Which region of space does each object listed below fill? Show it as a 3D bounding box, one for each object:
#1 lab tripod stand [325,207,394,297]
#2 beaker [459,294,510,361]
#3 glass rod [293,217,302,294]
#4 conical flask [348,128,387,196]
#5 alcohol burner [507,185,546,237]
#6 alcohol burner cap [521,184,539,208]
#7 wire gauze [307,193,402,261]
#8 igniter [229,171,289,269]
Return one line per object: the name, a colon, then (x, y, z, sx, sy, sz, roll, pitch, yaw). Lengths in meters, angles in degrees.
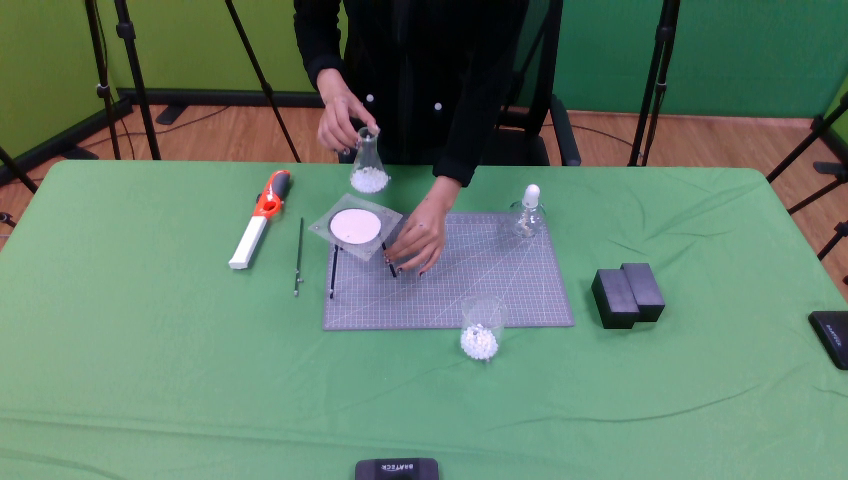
lab tripod stand: (-0.125, 0.017, 1.092, 0.148, 0.132, 0.147, 3, 44, -3)
beaker: (0.095, 0.147, 1.012, 0.083, 0.101, 0.074, 26, 49, 21)
glass rod: (-0.242, 0.025, 1.166, 0.008, 0.008, 0.198, -2, 47, -5)
conical flask: (-0.105, -0.147, 1.116, 0.075, 0.122, 0.075, 2, 49, -2)
alcohol burner: (0.208, -0.063, 1.210, 0.078, 0.119, 0.077, 3, 44, -3)
alcohol burner cap: (0.210, -0.087, 1.183, 0.034, 0.048, 0.033, 0, 53, 0)
wire gauze: (-0.119, -0.028, 1.043, 0.125, 0.011, 0.121, 24, 47, 17)
igniter: (-0.328, -0.049, 1.218, 0.057, 0.025, 0.275, 1, 45, 11)
